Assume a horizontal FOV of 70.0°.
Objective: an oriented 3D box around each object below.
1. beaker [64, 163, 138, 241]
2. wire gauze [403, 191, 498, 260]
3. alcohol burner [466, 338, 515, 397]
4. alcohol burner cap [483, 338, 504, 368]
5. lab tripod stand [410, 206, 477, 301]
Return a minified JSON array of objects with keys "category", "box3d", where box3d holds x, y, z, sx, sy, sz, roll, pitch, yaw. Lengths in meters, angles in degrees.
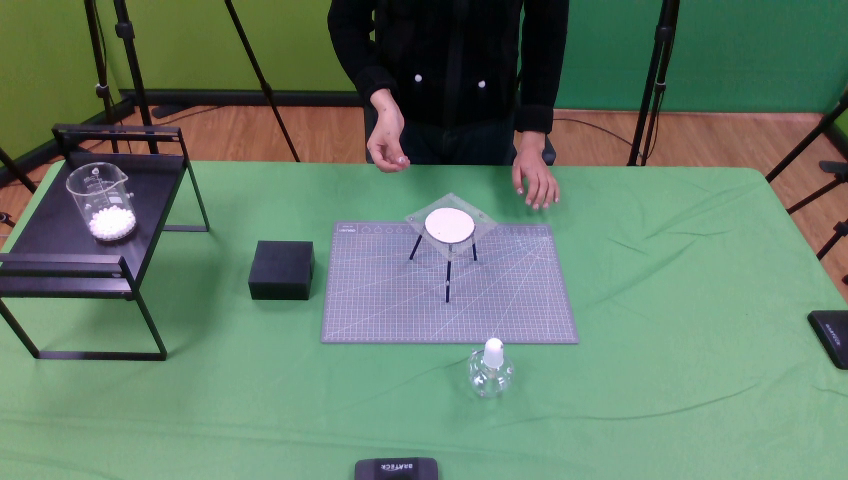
[{"category":"beaker","box3d":[-0.478,-0.055,0.910,0.084,0.101,0.073,-9,48,-13]},{"category":"wire gauze","box3d":[0.046,-0.032,1.053,0.121,0.011,0.124,-32,55,-29]},{"category":"alcohol burner","box3d":[0.106,0.195,0.952,0.078,0.120,0.077,0,46,0]},{"category":"alcohol burner cap","box3d":[0.108,0.170,0.928,0.034,0.048,0.033,-1,41,1]},{"category":"lab tripod stand","box3d":[0.039,0.015,1.101,0.148,0.132,0.147,1,47,0]}]
